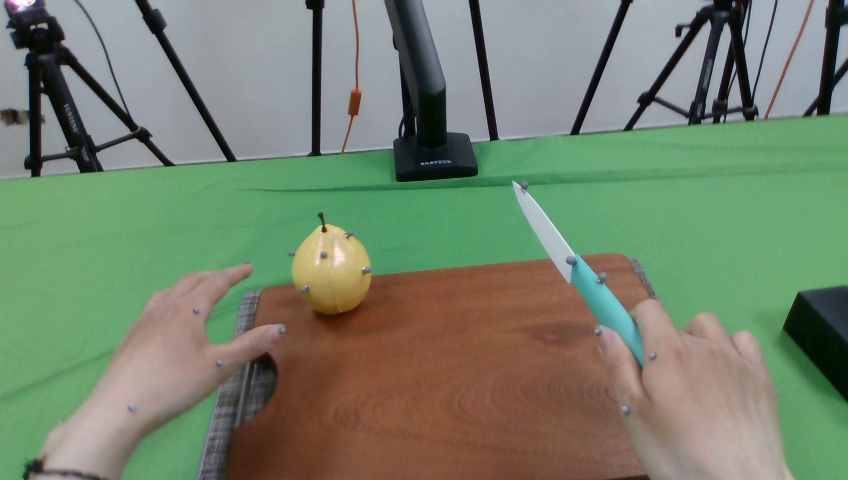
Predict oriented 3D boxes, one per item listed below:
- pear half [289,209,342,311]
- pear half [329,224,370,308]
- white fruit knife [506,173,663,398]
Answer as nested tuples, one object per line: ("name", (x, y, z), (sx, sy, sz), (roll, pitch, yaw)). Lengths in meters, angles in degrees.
("pear half", (-0.107, 0.015, 0.596), (0.056, 0.111, 0.075), (0, 33, 5))
("pear half", (-0.070, 0.025, 0.597), (0.031, 0.088, 0.070), (-1, 30, 5))
("white fruit knife", (0.110, 0.020, 0.446), (0.016, 0.027, 0.205), (-6, 50, -31))
